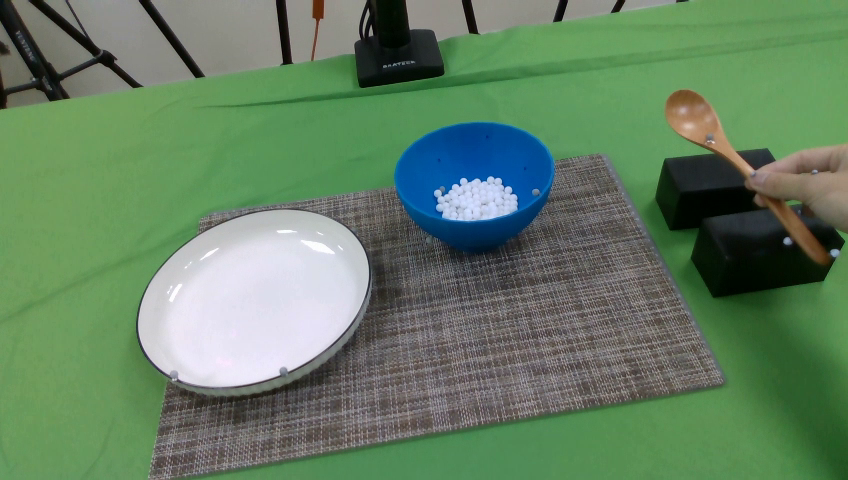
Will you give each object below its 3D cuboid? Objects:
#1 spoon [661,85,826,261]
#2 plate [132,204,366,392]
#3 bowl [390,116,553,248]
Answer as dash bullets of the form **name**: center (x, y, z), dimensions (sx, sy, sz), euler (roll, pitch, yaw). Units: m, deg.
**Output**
- **spoon**: center (0.260, -0.060, 0.500), dimensions (0.041, 0.022, 0.191), euler (-25, 57, -2)
- **plate**: center (-0.153, 0.051, 0.553), dimensions (0.207, 0.039, 0.205), euler (-4, 46, 4)
- **bowl**: center (0.047, -0.045, 0.589), dimensions (0.151, 0.077, 0.150), euler (-4, 46, 4)
